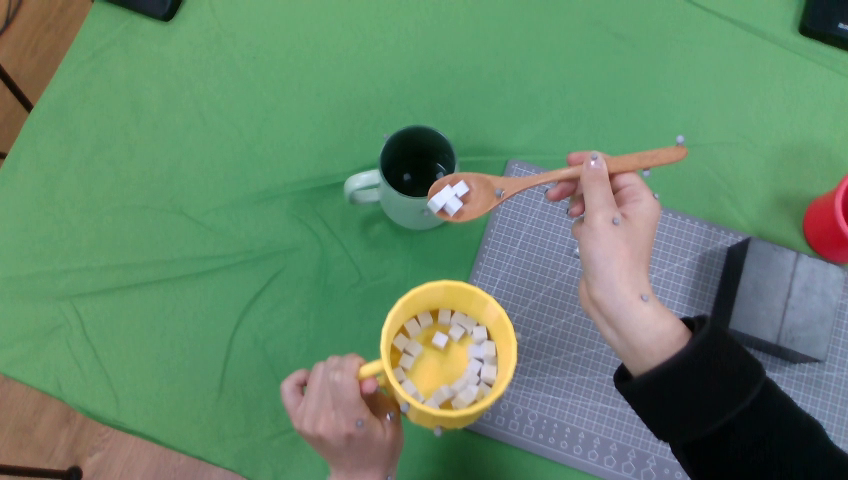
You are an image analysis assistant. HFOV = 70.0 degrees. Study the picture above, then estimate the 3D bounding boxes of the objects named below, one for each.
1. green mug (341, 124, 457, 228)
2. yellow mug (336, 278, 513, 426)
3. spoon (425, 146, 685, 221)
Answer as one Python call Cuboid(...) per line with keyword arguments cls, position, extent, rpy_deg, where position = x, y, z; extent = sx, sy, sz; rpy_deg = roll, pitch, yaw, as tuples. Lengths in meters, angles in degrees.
Cuboid(cls="green mug", position=(-0.025, -0.062, 0.635), extent=(0.125, 0.105, 0.092), rpy_deg=(-12, 78, -3))
Cuboid(cls="yellow mug", position=(-0.002, 0.090, 0.458), extent=(0.131, 0.064, 0.099), rpy_deg=(-15, 68, -11))
Cuboid(cls="spoon", position=(0.095, -0.047, 0.458), extent=(0.193, 0.022, 0.041), rpy_deg=(-10, 74, 18))
